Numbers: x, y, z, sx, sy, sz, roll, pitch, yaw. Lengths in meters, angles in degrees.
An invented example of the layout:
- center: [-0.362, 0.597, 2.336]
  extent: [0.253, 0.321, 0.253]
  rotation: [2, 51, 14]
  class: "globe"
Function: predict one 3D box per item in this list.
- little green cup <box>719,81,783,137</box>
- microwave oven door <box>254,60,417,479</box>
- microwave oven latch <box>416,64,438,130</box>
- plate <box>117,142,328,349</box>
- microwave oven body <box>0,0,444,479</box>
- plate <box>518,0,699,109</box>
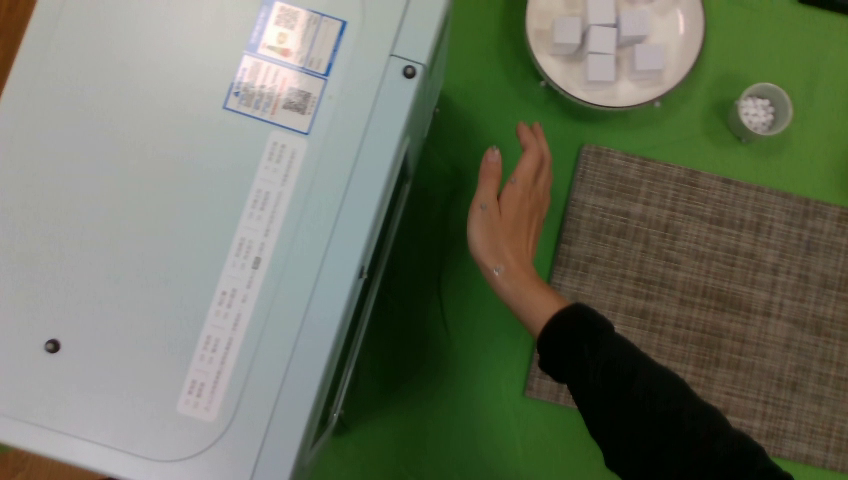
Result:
- center: [0.377, -0.150, 0.704]
  extent: [0.061, 0.038, 0.061]
  rotation: [0, 85, -1]
  class: "little green cup"
- center: [-0.073, 0.041, 0.561]
  extent: [0.039, 0.244, 0.355]
  rotation: [17, 85, 1]
  class: "microwave oven door"
- center: [-0.009, -0.160, 0.679]
  extent: [0.030, 0.029, 0.079]
  rotation: [21, 86, 0]
  class: "microwave oven latch"
- center: [-0.201, 0.005, 0.619]
  extent: [0.209, 0.038, 0.208]
  rotation: [0, 85, -1]
  class: "plate"
- center: [-0.200, -0.041, 0.570]
  extent: [0.326, 0.260, 0.441]
  rotation: [17, 86, 0]
  class: "microwave oven body"
- center: [0.212, -0.251, 0.709]
  extent: [0.208, 0.039, 0.207]
  rotation: [0, 86, -1]
  class: "plate"
